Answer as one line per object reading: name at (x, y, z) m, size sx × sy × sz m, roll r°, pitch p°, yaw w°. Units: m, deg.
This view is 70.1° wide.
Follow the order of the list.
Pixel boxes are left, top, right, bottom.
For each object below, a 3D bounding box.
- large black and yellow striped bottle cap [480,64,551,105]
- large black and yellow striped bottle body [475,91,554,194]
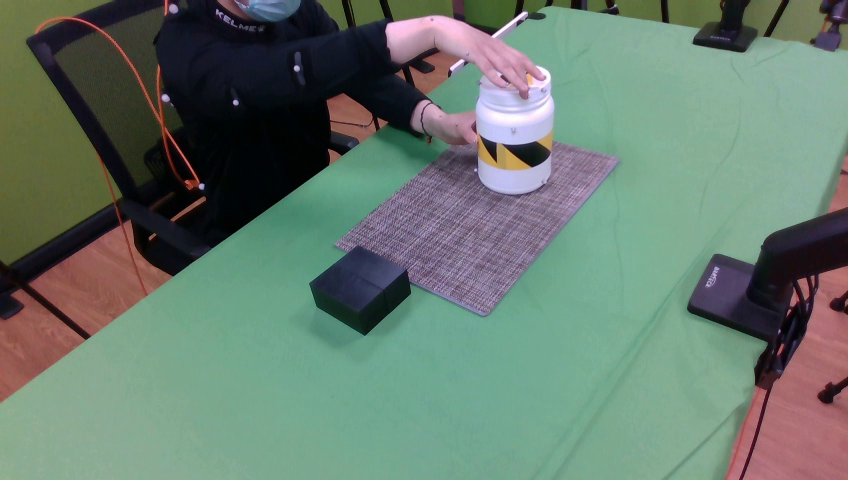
large black and yellow striped bottle cap at (0.147, -0.253, 0.977) m, size 0.115 × 0.019 × 0.114 m, roll -5°, pitch 40°, yaw 5°
large black and yellow striped bottle body at (0.154, -0.187, 1.033) m, size 0.131 × 0.185 × 0.130 m, roll -4°, pitch 41°, yaw 4°
